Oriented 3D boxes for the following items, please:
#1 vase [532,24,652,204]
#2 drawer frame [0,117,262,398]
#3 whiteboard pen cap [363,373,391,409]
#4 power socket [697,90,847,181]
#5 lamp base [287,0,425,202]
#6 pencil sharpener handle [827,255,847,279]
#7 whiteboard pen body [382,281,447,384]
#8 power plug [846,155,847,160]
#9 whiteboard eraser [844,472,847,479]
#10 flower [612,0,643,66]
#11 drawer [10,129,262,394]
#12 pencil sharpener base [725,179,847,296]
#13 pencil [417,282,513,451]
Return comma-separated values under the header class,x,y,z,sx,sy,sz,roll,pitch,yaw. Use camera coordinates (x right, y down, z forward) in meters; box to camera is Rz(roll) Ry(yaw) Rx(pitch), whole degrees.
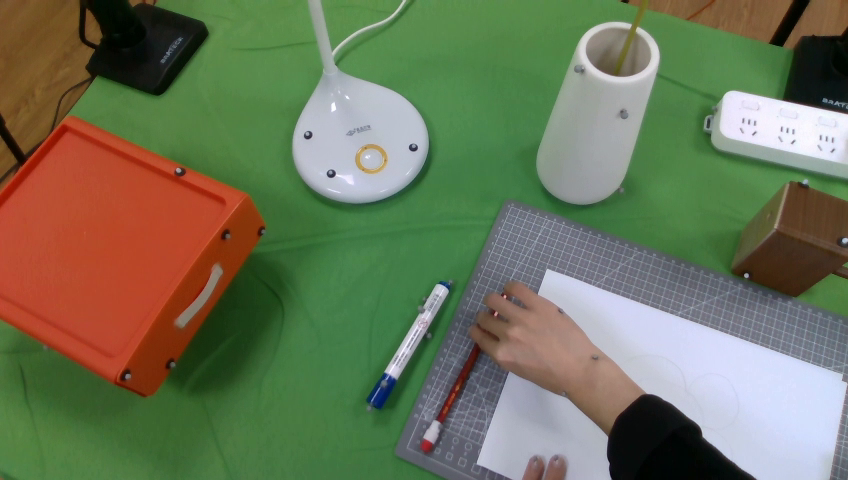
class,x,y,z,sx,sy,sz,roll,pitch,yaw
vase,0.165,-0.119,0.607,0.098,0.201,0.097,-1,63,3
drawer frame,-0.304,0.012,0.581,0.213,0.083,0.201,24,69,10
whiteboard pen cap,-0.044,0.144,0.583,0.018,0.018,0.033,25,62,14
power socket,0.431,-0.116,0.688,0.226,0.033,0.072,15,67,9
lamp base,-0.090,-0.158,0.645,0.160,0.182,0.177,-30,64,-12
pencil sharpener handle,0.405,0.015,0.573,0.030,0.068,0.036,23,66,13
whiteboard pen body,-0.014,0.099,0.608,0.017,0.017,0.140,25,64,14
power plug,0.470,-0.088,0.647,0.035,0.053,0.072,25,70,14
whiteboard eraser,0.381,0.257,0.506,0.055,0.042,0.112,16,66,8
flower,0.174,-0.167,0.539,0.038,0.364,0.043,9,47,-1
drawer,-0.298,0.012,0.579,0.211,0.074,0.193,23,69,12
pencil sharpener base,0.359,0.001,0.594,0.076,0.108,0.061,23,67,12
pencil,0.045,0.120,0.600,0.012,0.012,0.193,27,68,15
